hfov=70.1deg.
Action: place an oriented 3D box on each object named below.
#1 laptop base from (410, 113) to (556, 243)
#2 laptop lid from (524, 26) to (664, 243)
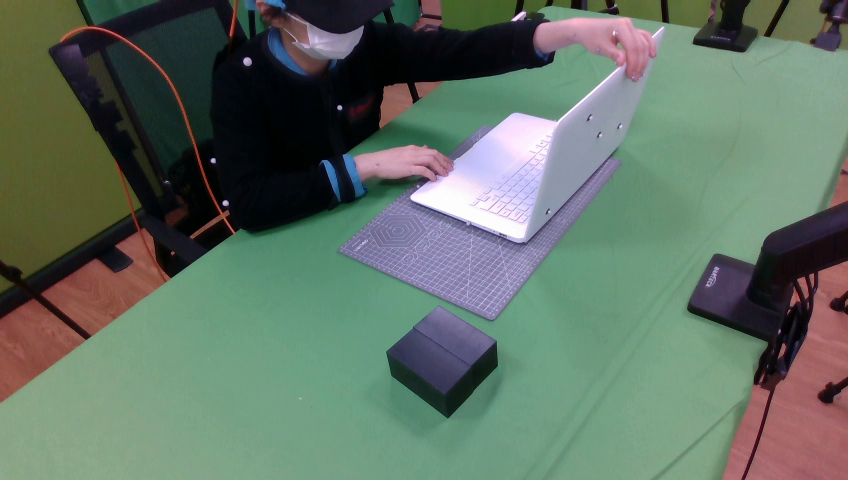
[{"bbox_3d":[0.171,-0.126,1.096,0.233,0.023,0.355,21,47,33],"label":"laptop base"},{"bbox_3d":[0.270,-0.167,0.947,0.013,0.242,0.358,31,51,23],"label":"laptop lid"}]
